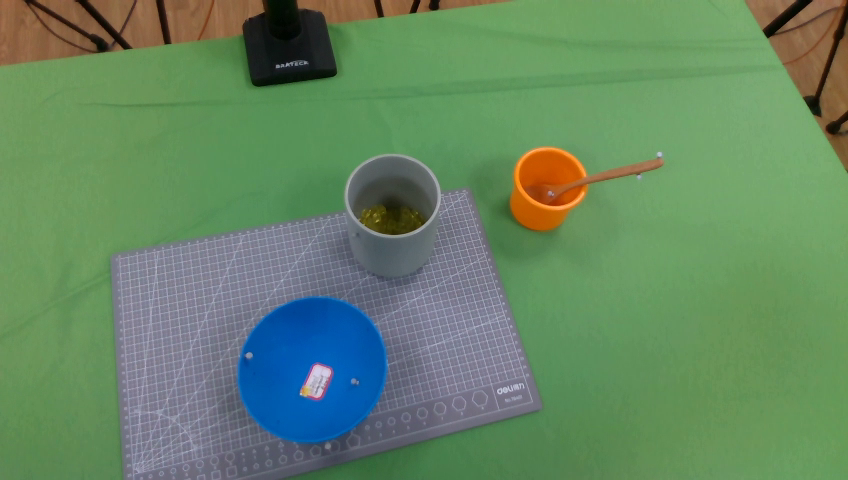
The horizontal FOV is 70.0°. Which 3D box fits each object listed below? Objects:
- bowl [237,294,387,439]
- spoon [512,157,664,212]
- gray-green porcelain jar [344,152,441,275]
[{"bbox_3d":[-0.115,0.141,0.647,0.151,0.077,0.150,2,65,-4],"label":"bowl"},{"bbox_3d":[0.192,-0.070,0.733,0.022,0.193,0.041,30,57,-40],"label":"spoon"},{"bbox_3d":[-0.037,-0.024,0.703,0.106,0.127,0.105,2,65,-3],"label":"gray-green porcelain jar"}]
